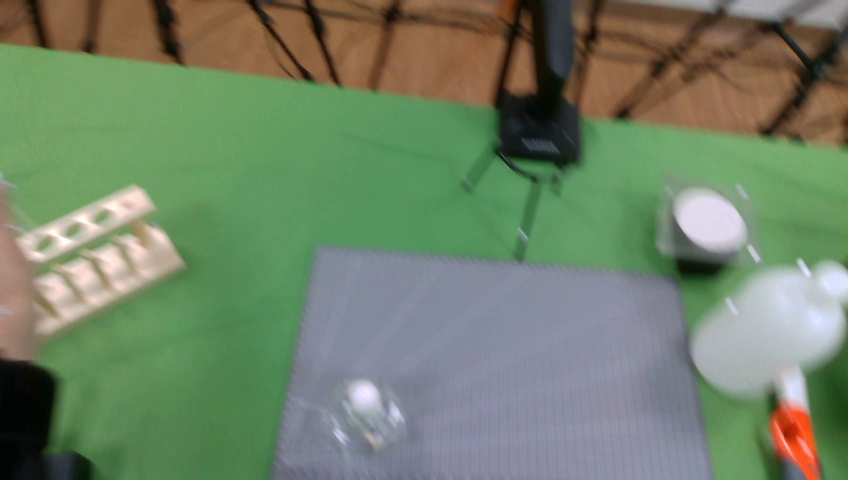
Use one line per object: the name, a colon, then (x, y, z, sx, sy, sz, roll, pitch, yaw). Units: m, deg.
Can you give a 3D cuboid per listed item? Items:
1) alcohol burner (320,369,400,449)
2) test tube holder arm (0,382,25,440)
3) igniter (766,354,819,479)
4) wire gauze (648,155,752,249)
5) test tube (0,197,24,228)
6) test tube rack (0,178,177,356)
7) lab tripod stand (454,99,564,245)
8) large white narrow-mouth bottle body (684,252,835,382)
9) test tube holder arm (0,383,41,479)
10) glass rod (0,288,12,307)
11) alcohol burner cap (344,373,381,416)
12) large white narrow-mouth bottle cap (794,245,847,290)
alcohol burner: (-0.060, 0.155, 0.575, 0.078, 0.120, 0.077, 4, 58, -6)
test tube holder arm: (-0.373, 0.208, 0.511, 0.013, 0.015, 0.177, 7, 58, -2)
igniter: (0.398, 0.179, 0.664, 0.057, 0.025, 0.274, 18, 59, -10)
wire gauze: (0.336, -0.047, 0.746, 0.121, 0.011, 0.124, 11, 58, 1)
test tube: (-0.359, -0.041, 0.484, 0.017, 0.151, 0.017, 4, 70, -10)
test tube rack: (-0.395, 0.038, 0.627, 0.242, 0.086, 0.066, -33, 68, -23)
lab tripod stand: (0.110, -0.088, 0.730, 0.148, 0.132, 0.147, 4, 60, -6)
large white narrow-mouth bottle body: (0.354, 0.071, 0.626, 0.102, 0.196, 0.101, 2, 59, -4)
test tube holder arm: (-0.364, 0.171, 0.535, 0.010, 0.015, 0.087, 8, 58, -1)
glass rod: (-0.428, 0.006, 0.565, 0.008, 0.201, 0.008, 4, 49, -5)
alcohol burner cap: (-0.057, 0.137, 0.543, 0.034, 0.048, 0.033, 1, 64, -1)
large white narrow-mouth bottle cap: (0.361, 0.025, 0.552, 0.038, 0.024, 0.037, 3, 59, -4)
